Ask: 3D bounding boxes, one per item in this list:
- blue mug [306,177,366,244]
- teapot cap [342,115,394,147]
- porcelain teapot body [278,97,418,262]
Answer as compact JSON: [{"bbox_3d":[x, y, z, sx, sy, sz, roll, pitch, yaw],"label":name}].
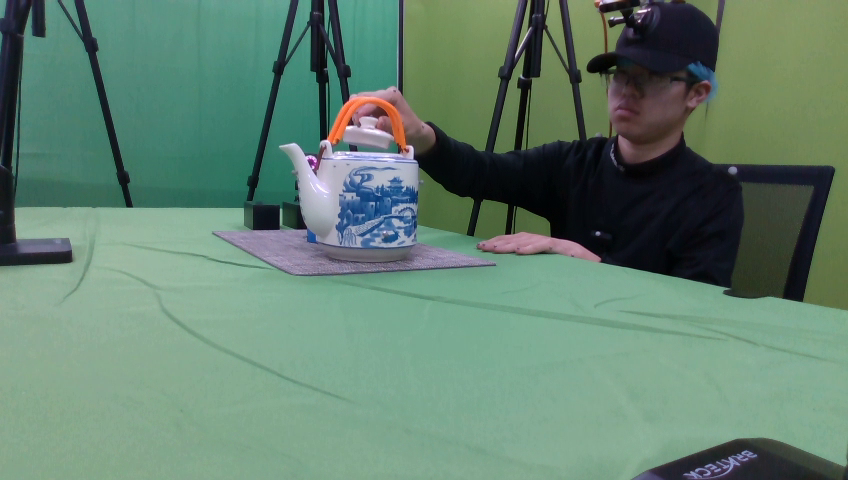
[{"bbox_3d":[-0.144,-0.052,1.027,0.082,0.106,0.117,9,10,42],"label":"blue mug"},{"bbox_3d":[-0.085,-0.163,0.895,0.085,0.044,0.085,6,3,0],"label":"teapot cap"},{"bbox_3d":[-0.104,-0.086,0.842,0.206,0.225,0.144,-4,10,-38],"label":"porcelain teapot body"}]
